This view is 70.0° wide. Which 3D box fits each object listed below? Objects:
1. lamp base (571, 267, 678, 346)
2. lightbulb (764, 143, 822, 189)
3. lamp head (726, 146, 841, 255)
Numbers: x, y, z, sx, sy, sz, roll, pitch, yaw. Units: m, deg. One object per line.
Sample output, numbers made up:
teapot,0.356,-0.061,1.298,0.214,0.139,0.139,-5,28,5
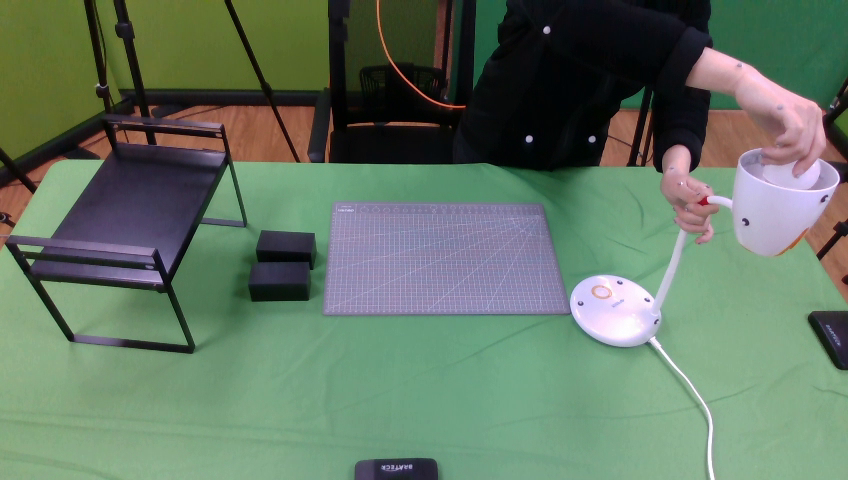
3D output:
lamp base,0.359,0.077,1.038,0.160,0.181,0.178,-34,59,-31
lightbulb,0.441,-0.066,0.739,0.059,0.108,0.059,2,32,-1
lamp head,0.435,-0.044,0.759,0.112,0.123,0.111,1,40,0
